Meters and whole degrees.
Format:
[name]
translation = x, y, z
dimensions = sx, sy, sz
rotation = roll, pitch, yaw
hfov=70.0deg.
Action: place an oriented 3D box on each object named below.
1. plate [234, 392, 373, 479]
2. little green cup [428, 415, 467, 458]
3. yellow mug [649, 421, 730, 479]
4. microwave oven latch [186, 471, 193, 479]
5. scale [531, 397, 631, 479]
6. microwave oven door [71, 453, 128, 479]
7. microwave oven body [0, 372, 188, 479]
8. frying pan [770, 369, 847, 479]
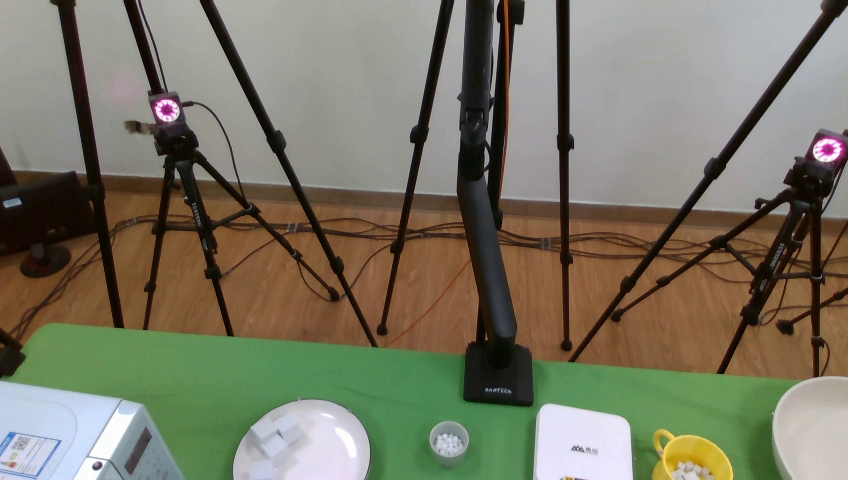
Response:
[plate]
translation = -0.182, 0.333, 0.934
dimensions = 0.208, 0.039, 0.205
rotation = 1, 43, 0
[little green cup]
translation = 0.037, 0.313, 0.958
dimensions = 0.061, 0.039, 0.061
rotation = 0, 42, 0
[yellow mug]
translation = 0.391, 0.332, 0.921
dimensions = 0.100, 0.064, 0.129
rotation = -19, 46, -19
[microwave oven latch]
translation = -0.359, 0.370, 0.863
dimensions = 0.030, 0.030, 0.078
rotation = 8, 44, 8
[scale]
translation = 0.242, 0.341, 0.934
dimensions = 0.148, 0.032, 0.199
rotation = 7, 44, 8
[microwave oven door]
translation = -0.395, 0.442, 0.636
dimensions = 0.039, 0.246, 0.353
rotation = 6, 43, 6
[microwave oven body]
translation = -0.533, 0.402, 0.684
dimensions = 0.326, 0.262, 0.438
rotation = 7, 44, 6
[frying pan]
translation = 0.706, 0.388, 0.836
dimensions = 0.307, 0.103, 0.482
rotation = -15, 37, -14
